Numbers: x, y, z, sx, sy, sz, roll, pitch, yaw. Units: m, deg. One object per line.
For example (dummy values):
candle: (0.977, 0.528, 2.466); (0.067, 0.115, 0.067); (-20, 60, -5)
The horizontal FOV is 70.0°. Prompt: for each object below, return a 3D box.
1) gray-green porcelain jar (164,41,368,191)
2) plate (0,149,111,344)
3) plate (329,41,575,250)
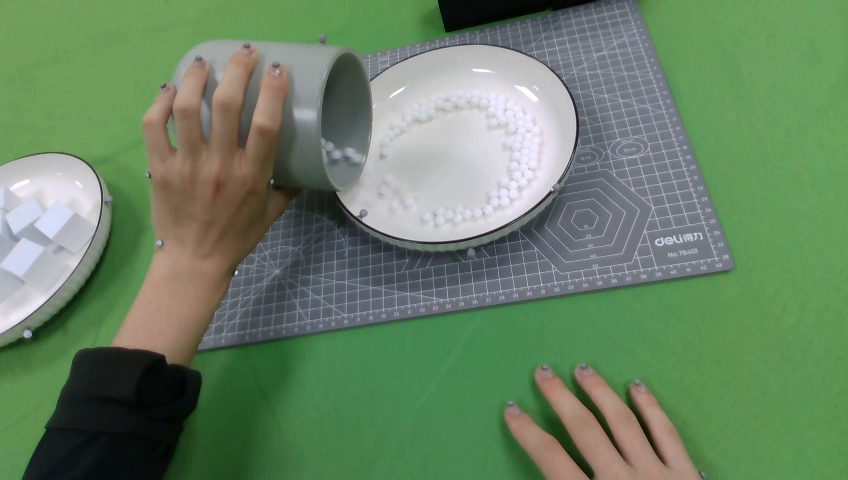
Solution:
gray-green porcelain jar: (-0.119, -0.095, 0.460); (0.126, 0.107, 0.105); (7, 62, 13)
plate: (-0.379, 0.009, 0.556); (0.207, 0.039, 0.205); (-6, 58, 11)
plate: (0.019, -0.079, 0.502); (0.209, 0.038, 0.207); (-7, 58, 11)
